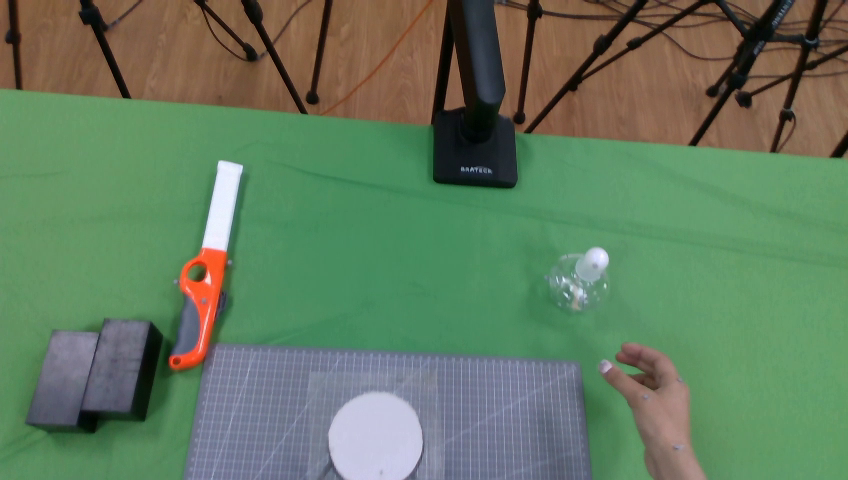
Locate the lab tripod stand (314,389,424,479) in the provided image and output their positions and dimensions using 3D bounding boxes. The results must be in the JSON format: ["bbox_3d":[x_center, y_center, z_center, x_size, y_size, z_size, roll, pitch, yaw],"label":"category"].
[{"bbox_3d":[-0.052,0.210,0.622,0.148,0.132,0.147,2,62,-4],"label":"lab tripod stand"}]

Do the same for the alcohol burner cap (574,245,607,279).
[{"bbox_3d":[0.201,0.025,0.719,0.034,0.048,0.033,1,68,-3],"label":"alcohol burner cap"}]

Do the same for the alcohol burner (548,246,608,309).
[{"bbox_3d":[0.197,0.040,0.752,0.078,0.120,0.077,3,61,-5],"label":"alcohol burner"}]

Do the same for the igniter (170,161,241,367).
[{"bbox_3d":[-0.265,0.023,0.750,0.057,0.025,0.274,12,62,-18],"label":"igniter"}]

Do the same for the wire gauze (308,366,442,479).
[{"bbox_3d":[-0.046,0.178,0.563,0.125,0.011,0.120,0,63,-7],"label":"wire gauze"}]
